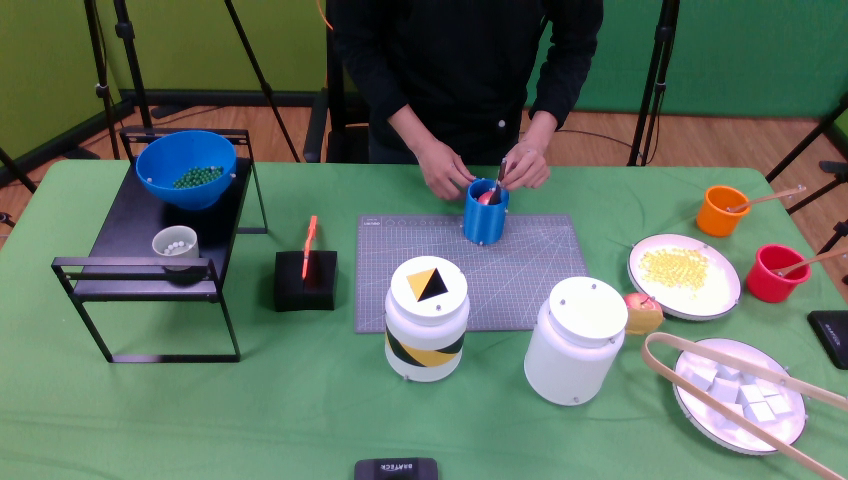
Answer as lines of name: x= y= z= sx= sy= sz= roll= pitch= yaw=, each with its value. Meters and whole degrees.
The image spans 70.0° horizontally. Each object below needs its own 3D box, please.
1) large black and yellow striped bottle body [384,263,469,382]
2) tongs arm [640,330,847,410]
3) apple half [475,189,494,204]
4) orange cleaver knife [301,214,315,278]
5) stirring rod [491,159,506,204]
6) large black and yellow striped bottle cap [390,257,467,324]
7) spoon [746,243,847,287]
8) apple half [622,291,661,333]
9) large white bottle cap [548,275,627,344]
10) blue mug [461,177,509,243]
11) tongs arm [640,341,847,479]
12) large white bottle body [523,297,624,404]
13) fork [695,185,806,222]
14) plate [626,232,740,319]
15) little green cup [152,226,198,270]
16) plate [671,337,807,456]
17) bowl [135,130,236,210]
large black and yellow striped bottle body: x=0.002 y=0.127 z=0.962 sx=0.131 sy=0.185 sz=0.130 roll=2 pitch=48 yaw=-2
tongs arm: x=0.543 y=0.226 z=0.969 sx=0.384 sy=0.026 sz=0.050 roll=22 pitch=53 yaw=13
apple half: x=0.110 y=-0.067 z=1.194 sx=0.033 sy=0.081 sz=0.081 roll=27 pitch=50 yaw=8
orange cleaver knife: x=-0.218 y=0.007 z=1.131 sx=0.012 sy=0.077 sz=0.210 roll=7 pitch=19 yaw=-9
stirring rod: x=0.138 y=-0.091 z=1.155 sx=0.006 sy=0.177 sz=0.014 roll=36 pitch=59 yaw=22
large black and yellow striped bottle cap: x=0.007 y=0.072 z=0.898 sx=0.115 sy=0.019 sz=0.114 roll=2 pitch=47 yaw=-2
spoon: x=0.702 y=0.043 z=1.126 sx=0.194 sy=0.022 sz=0.041 roll=-29 pitch=38 yaw=30
apple half: x=0.372 y=0.123 z=1.074 sx=0.081 sy=0.075 sz=0.053 roll=0 pitch=42 yaw=1
large white bottle cap: x=0.240 y=0.100 z=0.890 sx=0.115 sy=0.018 sz=0.114 roll=3 pitch=47 yaw=-3
blue mug: x=0.114 y=-0.069 z=1.210 sx=0.082 sy=0.106 sz=0.115 roll=-11 pitch=48 yaw=-14
tongs arm: x=0.500 y=0.277 z=0.920 sx=0.386 sy=0.028 sz=0.028 roll=34 pitch=59 yaw=22
large white bottle body: x=0.235 y=0.159 z=0.952 sx=0.131 sy=0.185 sz=0.130 roll=2 pitch=47 yaw=-2
fork: x=0.658 y=-0.074 z=1.229 sx=0.207 sy=0.019 sz=0.028 roll=-23 pitch=34 yaw=37
plate: x=0.488 y=0.071 z=1.157 sx=0.209 sy=0.038 sz=0.208 roll=3 pitch=46 yaw=-3
little green cup: x=-0.364 y=0.013 z=0.894 sx=0.061 sy=0.039 sz=0.061 roll=3 pitch=46 yaw=-3
plate: x=0.504 y=0.254 z=0.984 sx=0.208 sy=0.039 sz=0.206 roll=2 pitch=46 yaw=-2
bowl: x=-0.375 y=-0.102 z=0.978 sx=0.151 sy=0.077 sz=0.150 roll=2 pitch=46 yaw=-2
